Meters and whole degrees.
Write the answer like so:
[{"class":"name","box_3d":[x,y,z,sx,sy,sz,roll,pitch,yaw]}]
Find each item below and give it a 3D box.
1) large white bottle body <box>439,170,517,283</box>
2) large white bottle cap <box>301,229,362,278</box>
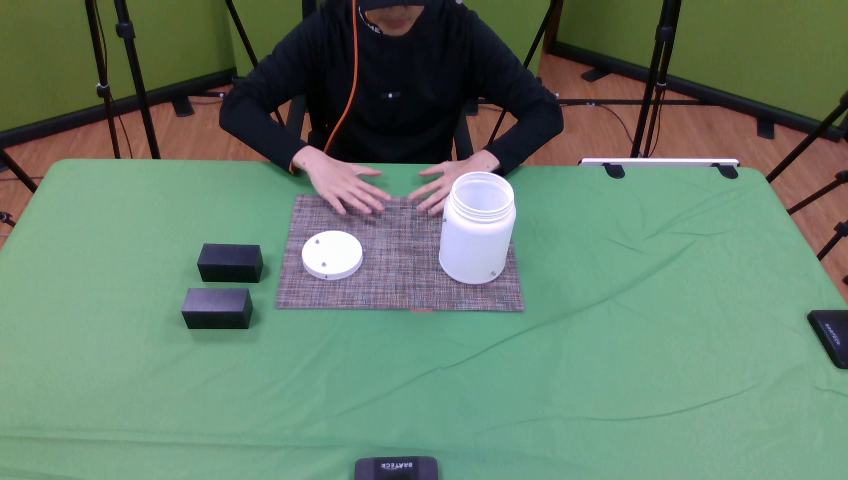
[{"class":"large white bottle body","box_3d":[0.097,-0.024,1.108,0.131,0.185,0.130,2,47,-2]},{"class":"large white bottle cap","box_3d":[-0.176,0.025,1.157,0.115,0.018,0.114,2,46,-2]}]
